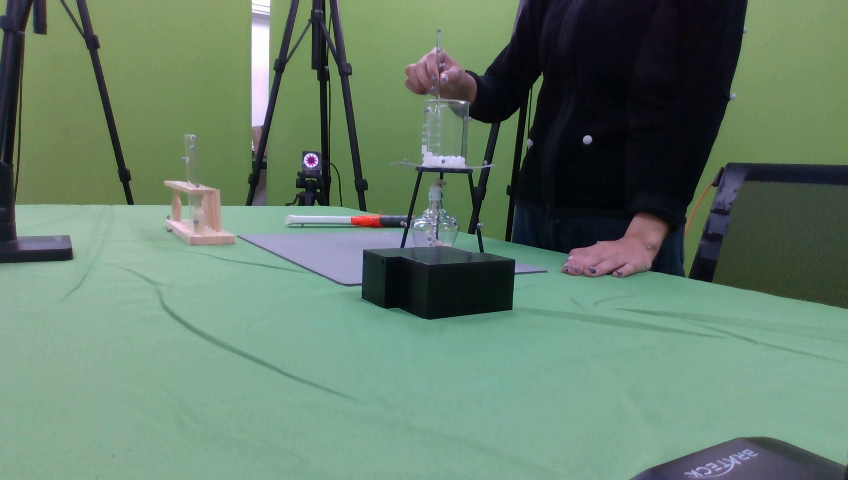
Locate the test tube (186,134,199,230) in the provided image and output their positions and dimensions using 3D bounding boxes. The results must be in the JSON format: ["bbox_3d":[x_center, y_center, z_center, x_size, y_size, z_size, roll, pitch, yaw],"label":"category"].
[{"bbox_3d":[-0.360,-0.089,0.946,0.017,0.150,0.017,0,10,0],"label":"test tube"}]

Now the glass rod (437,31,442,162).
[{"bbox_3d":[0.024,-0.220,0.927,0.008,0.199,0.008,-1,2,0],"label":"glass rod"}]

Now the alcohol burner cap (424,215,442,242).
[{"bbox_3d":[0.017,-0.022,1.098,0.034,0.048,0.034,2,9,0],"label":"alcohol burner cap"}]

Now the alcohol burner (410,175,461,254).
[{"bbox_3d":[0.018,-0.040,0.931,0.078,0.119,0.078,0,7,0],"label":"alcohol burner"}]

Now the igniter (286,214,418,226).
[{"bbox_3d":[-0.145,-0.043,1.263,0.278,0.025,0.057,-1,-2,-25],"label":"igniter"}]

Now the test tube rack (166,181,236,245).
[{"bbox_3d":[-0.383,-0.051,1.024,0.067,0.085,0.241,-2,9,-31],"label":"test tube rack"}]

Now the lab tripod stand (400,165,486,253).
[{"bbox_3d":[0.027,-0.049,0.930,0.148,0.131,0.148,2,9,0],"label":"lab tripod stand"}]

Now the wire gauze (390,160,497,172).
[{"bbox_3d":[0.028,-0.114,0.920,0.122,0.011,0.124,-5,13,-34],"label":"wire gauze"}]

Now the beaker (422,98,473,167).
[{"bbox_3d":[0.031,-0.162,0.919,0.074,0.100,0.083,-4,9,-36],"label":"beaker"}]
